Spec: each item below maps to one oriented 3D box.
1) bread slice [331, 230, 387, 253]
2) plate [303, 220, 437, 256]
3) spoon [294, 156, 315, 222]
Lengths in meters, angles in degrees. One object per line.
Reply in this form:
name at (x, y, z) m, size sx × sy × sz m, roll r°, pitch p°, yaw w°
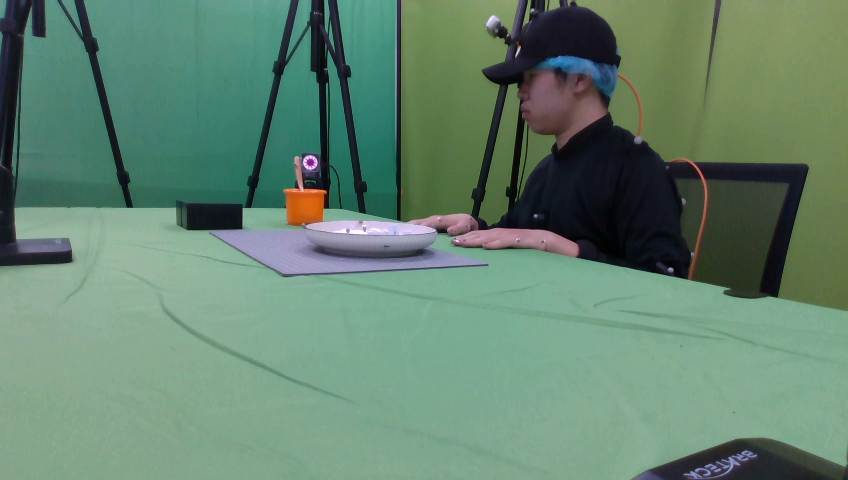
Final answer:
bread slice at (-0.088, 0.000, 0.947) m, size 0.105 × 0.019 × 0.131 m, roll -4°, pitch 11°, yaw -44°
plate at (-0.084, -0.003, 0.951) m, size 0.209 × 0.038 × 0.209 m, roll 3°, pitch 7°, yaw 0°
spoon at (-0.271, -0.116, 1.328) m, size 0.042 × 0.021 × 0.193 m, roll -2°, pitch 48°, yaw -21°
